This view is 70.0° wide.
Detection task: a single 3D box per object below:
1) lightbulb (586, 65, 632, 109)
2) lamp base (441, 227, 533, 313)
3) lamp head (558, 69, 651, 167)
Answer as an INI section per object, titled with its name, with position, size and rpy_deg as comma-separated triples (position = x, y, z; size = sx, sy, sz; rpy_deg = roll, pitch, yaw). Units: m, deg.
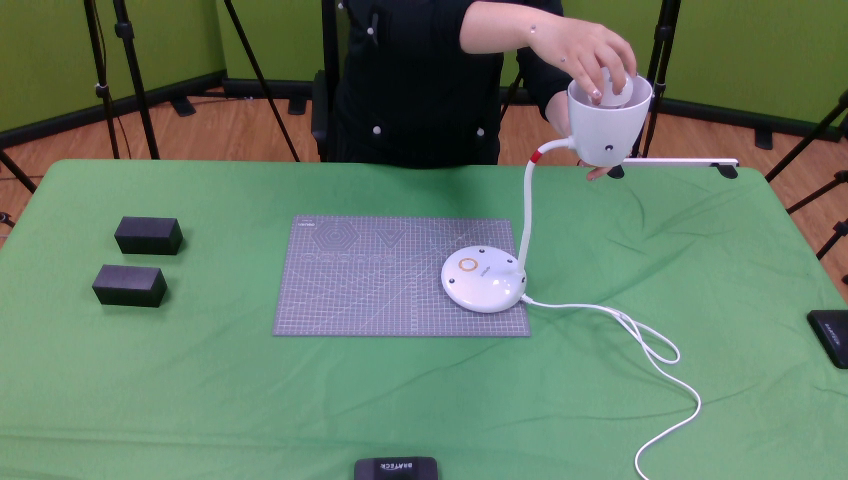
[lightbulb]
position = 0.255, -0.190, 0.844
size = 0.059, 0.108, 0.059
rpy_deg = -4, 38, 4
[lamp base]
position = 0.126, 0.022, 1.071
size = 0.179, 0.181, 0.160
rpy_deg = 23, 49, 14
[lamp head]
position = 0.252, -0.164, 0.860
size = 0.112, 0.123, 0.111
rpy_deg = 0, 42, 0
